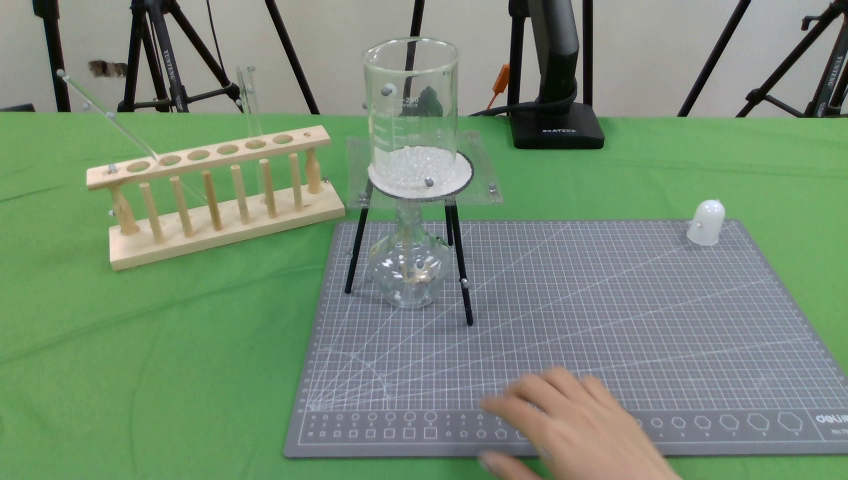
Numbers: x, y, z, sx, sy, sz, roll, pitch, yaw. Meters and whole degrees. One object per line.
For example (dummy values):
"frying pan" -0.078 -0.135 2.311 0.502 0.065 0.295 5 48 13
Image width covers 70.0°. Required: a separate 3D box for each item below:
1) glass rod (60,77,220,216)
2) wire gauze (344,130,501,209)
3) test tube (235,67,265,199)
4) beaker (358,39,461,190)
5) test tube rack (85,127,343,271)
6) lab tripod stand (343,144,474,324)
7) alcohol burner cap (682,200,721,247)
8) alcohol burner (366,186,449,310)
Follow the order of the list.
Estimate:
"glass rod" -0.276 -0.085 0.605 0.008 0.202 0.008 -20 44 21
"wire gauze" -0.007 -0.060 0.509 0.125 0.011 0.120 -6 35 -2
"test tube" -0.183 -0.110 0.648 0.017 0.151 0.017 1 34 0
"beaker" -0.013 -0.098 0.479 0.083 0.101 0.074 19 41 26
"test tube rack" -0.216 -0.048 0.649 0.243 0.086 0.066 -15 39 -18
"lab tripod stand" -0.006 -0.008 0.549 0.148 0.132 0.147 -1 39 1
"alcohol burner cap" 0.294 -0.020 0.639 0.034 0.048 0.033 0 37 0
"alcohol burner" -0.015 0.004 0.550 0.078 0.120 0.077 0 36 1
